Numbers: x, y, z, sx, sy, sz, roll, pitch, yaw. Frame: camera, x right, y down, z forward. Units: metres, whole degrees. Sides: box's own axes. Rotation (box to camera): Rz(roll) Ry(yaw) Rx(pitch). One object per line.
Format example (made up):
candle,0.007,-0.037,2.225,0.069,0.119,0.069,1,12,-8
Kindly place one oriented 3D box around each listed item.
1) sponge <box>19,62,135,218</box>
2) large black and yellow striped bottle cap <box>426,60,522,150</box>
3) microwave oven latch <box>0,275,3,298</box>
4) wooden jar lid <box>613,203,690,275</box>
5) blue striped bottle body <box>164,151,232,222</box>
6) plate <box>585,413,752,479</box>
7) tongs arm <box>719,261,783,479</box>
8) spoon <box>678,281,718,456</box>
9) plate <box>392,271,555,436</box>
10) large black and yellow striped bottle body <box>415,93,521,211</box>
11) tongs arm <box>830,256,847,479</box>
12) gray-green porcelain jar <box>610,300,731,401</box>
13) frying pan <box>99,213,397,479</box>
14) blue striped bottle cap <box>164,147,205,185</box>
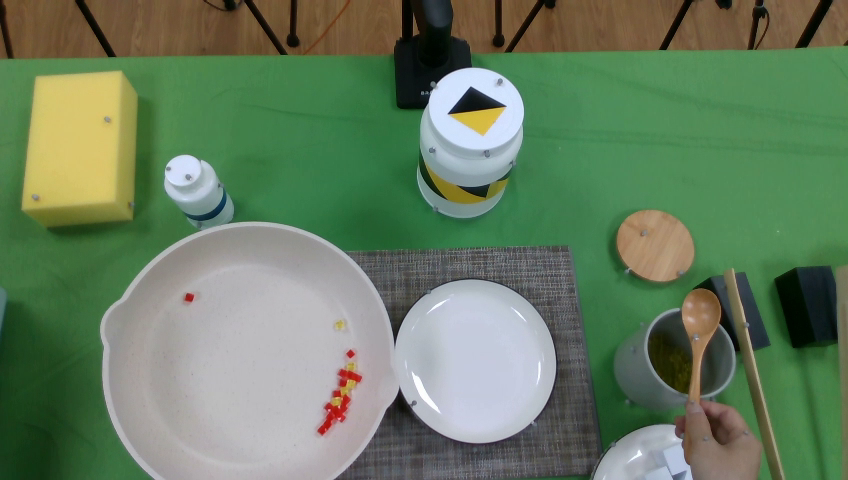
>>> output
sponge,-0.471,-0.139,0.833,0.118,0.061,0.205,-6,71,-6
large black and yellow striped bottle cap,0.060,-0.162,0.720,0.115,0.019,0.114,1,71,-3
microwave oven latch,-0.540,0.078,0.742,0.030,0.029,0.078,-1,71,-4
wooden jar lid,0.319,0.000,0.854,0.108,0.021,0.107,1,71,-3
blue striped bottle body,-0.295,-0.072,0.788,0.063,0.121,0.062,1,69,-3
plate,0.292,0.315,0.727,0.208,0.039,0.206,1,70,-3
tongs arm,0.429,0.213,0.744,0.051,0.026,0.383,-6,81,-8
spoon,0.293,0.137,0.664,0.041,0.022,0.192,6,65,23
plate,0.061,0.142,0.772,0.209,0.038,0.207,1,70,-3
large black and yellow striped bottle body,0.055,-0.131,0.799,0.131,0.185,0.130,1,69,-3
tongs arm,0.513,0.211,0.752,0.028,0.028,0.386,8,79,-9
gray-green porcelain jar,0.294,0.140,0.744,0.106,0.127,0.105,1,69,-3
frying pan,-0.195,0.210,0.606,0.308,0.103,0.484,19,62,-18
blue striped bottle cap,-0.293,-0.091,0.740,0.044,0.021,0.044,1,71,-3
